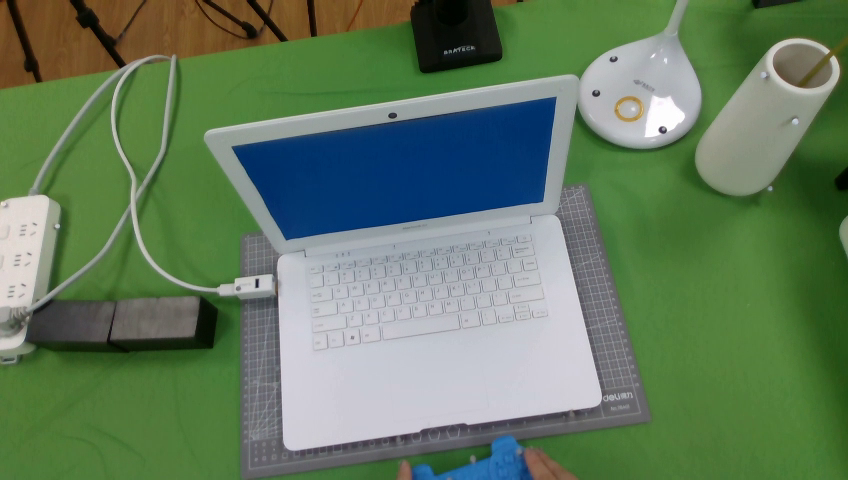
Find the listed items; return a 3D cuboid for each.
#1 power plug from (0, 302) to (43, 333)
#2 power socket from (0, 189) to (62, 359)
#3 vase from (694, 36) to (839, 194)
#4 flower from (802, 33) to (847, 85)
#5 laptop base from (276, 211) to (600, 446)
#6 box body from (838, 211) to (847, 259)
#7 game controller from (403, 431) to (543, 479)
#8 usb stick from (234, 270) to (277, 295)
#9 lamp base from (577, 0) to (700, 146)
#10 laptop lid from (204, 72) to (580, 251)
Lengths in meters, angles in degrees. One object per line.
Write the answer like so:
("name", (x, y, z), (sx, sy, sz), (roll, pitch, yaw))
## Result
("power plug", (-0.478, 0.094, 0.717), (0.072, 0.053, 0.035), (6, 66, 5))
("power socket", (-0.512, 0.036, 0.765), (0.072, 0.033, 0.225), (-6, 66, 1))
("vase", (0.375, -0.134, 0.678), (0.098, 0.201, 0.097), (-2, 65, 5))
("flower", (0.388, -0.169, 0.602), (0.038, 0.364, 0.043), (6, 57, -11))
("laptop base", (0.006, 0.096, 0.708), (0.354, 0.023, 0.234), (-8, 70, 1))
("box body", (0.612, 0.087, 0.586), (0.254, 0.161, 0.361), (-7, 67, 2))
("game controller", (0.048, 0.259, 0.619), (0.155, 0.052, 0.096), (-17, 65, -3))
("usb stick", (-0.195, 0.051, 0.728), (0.059, 0.027, 0.021), (-5, 65, -3))
("lamp base", (0.283, -0.236, 0.739), (0.160, 0.181, 0.178), (23, 68, 14))
("laptop lid", (-0.021, -0.070, 0.650), (0.357, 0.244, 0.013), (-9, 60, 2))
